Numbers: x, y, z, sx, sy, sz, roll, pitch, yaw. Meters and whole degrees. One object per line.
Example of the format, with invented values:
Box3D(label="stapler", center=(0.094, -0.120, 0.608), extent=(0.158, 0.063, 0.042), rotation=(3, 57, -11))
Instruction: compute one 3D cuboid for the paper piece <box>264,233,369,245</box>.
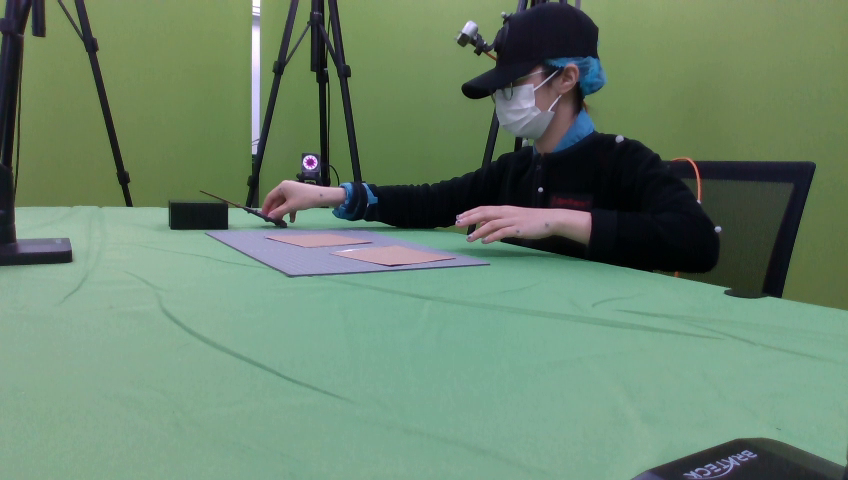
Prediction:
Box3D(label="paper piece", center=(-0.180, -0.005, 1.032), extent=(0.136, 0.004, 0.135), rotation=(-3, 9, -43))

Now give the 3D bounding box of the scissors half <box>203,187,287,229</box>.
Box3D(label="scissors half", center=(-0.353, -0.066, 1.197), extent=(0.176, 0.013, 0.040), rotation=(26, -22, -15))

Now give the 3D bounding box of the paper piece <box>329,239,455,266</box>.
Box3D(label="paper piece", center=(-0.047, 0.018, 0.892), extent=(0.137, 0.008, 0.137), rotation=(12, 16, 44))

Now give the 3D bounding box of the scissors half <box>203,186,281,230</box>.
Box3D(label="scissors half", center=(-0.363, -0.064, 1.214), extent=(0.176, 0.013, 0.040), rotation=(33, -19, -31))
